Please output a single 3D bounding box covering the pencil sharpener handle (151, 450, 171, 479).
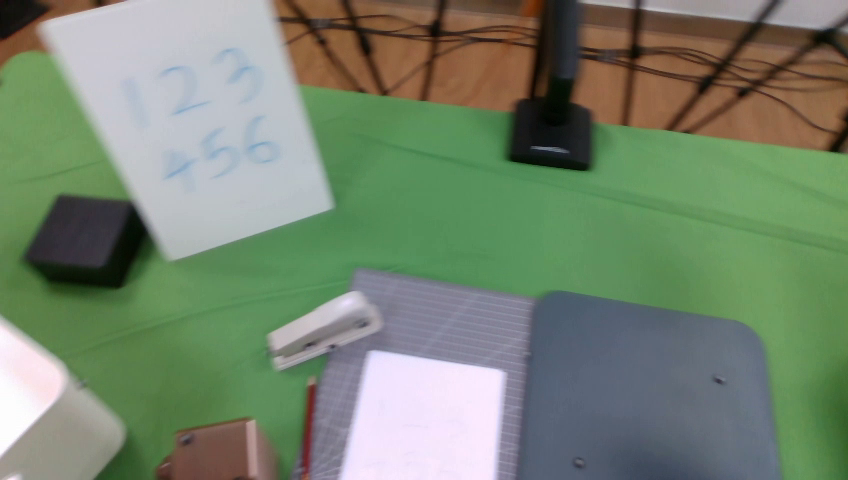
[{"bbox_3d":[-0.238,0.221,0.551,0.031,0.068,0.035,-10,40,-6],"label":"pencil sharpener handle"}]

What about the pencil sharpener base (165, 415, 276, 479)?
[{"bbox_3d":[-0.188,0.216,0.570,0.077,0.108,0.060,-9,57,-6],"label":"pencil sharpener base"}]

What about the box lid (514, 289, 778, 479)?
[{"bbox_3d":[0.229,0.224,0.625,0.263,0.015,0.368,10,57,5],"label":"box lid"}]

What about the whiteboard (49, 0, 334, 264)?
[{"bbox_3d":[-0.262,-0.160,0.742,0.217,0.308,0.142,-19,39,-12],"label":"whiteboard"}]

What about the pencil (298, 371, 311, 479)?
[{"bbox_3d":[-0.124,0.225,0.621,0.012,0.012,0.192,-2,56,-1],"label":"pencil"}]

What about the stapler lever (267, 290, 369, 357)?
[{"bbox_3d":[-0.118,0.091,0.674,0.118,0.040,0.026,-21,54,-11],"label":"stapler lever"}]

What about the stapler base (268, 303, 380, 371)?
[{"bbox_3d":[-0.116,0.105,0.694,0.131,0.024,0.041,-21,54,-10],"label":"stapler base"}]

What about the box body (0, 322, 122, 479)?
[{"bbox_3d":[-0.511,0.169,0.567,0.362,0.162,0.253,28,60,17],"label":"box body"}]
